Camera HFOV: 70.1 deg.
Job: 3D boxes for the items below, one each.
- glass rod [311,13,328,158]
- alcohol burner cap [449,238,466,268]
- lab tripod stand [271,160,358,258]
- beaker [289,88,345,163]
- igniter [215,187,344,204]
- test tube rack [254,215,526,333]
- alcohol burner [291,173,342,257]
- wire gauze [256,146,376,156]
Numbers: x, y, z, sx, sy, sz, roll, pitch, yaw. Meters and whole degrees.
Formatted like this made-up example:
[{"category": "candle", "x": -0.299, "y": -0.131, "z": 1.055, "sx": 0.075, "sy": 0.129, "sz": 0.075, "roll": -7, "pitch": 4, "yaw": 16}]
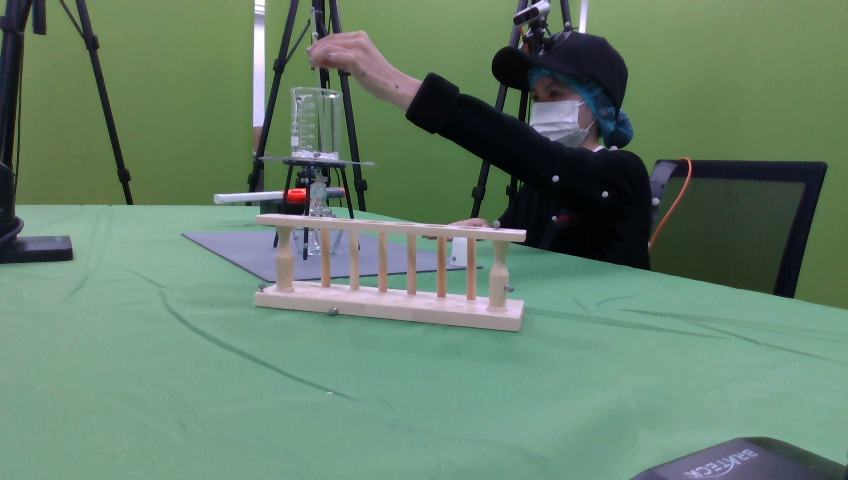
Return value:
[{"category": "glass rod", "x": -0.148, "y": -0.215, "z": 0.858, "sx": 0.008, "sy": 0.199, "sz": 0.008, "roll": -2, "pitch": 18, "yaw": 1}, {"category": "alcohol burner cap", "x": 0.051, "y": 0.015, "z": 0.827, "sx": 0.034, "sy": 0.048, "sz": 0.034, "roll": 2, "pitch": 5, "yaw": 0}, {"category": "lab tripod stand", "x": -0.159, "y": -0.048, "z": 0.876, "sx": 0.148, "sy": 0.131, "sz": 0.148, "roll": 3, "pitch": 5, "yaw": 0}, {"category": "beaker", "x": -0.157, "y": -0.160, "z": 0.862, "sx": 0.083, "sy": 0.100, "sz": 0.074, "roll": 7, "pitch": 7, "yaw": 34}, {"category": "igniter", "x": -0.290, "y": -0.093, "z": 1.256, "sx": 0.278, "sy": 0.025, "sz": 0.057, "roll": -6, "pitch": 11, "yaw": -35}, {"category": "test tube rack", "x": -0.030, "y": 0.025, "z": 0.557, "sx": 0.242, "sy": 0.085, "sz": 0.067, "roll": 4, "pitch": 7, "yaw": 12}, {"category": "alcohol burner", "x": -0.155, "y": -0.037, "z": 0.870, "sx": 0.078, "sy": 0.119, "sz": 0.078, "roll": 1, "pitch": 6, "yaw": 0}, {"category": "wire gauze", "x": -0.155, "y": -0.128, "z": 0.871, "sx": 0.124, "sy": 0.011, "sz": 0.122, "roll": 2, "pitch": 7, "yaw": 36}]
